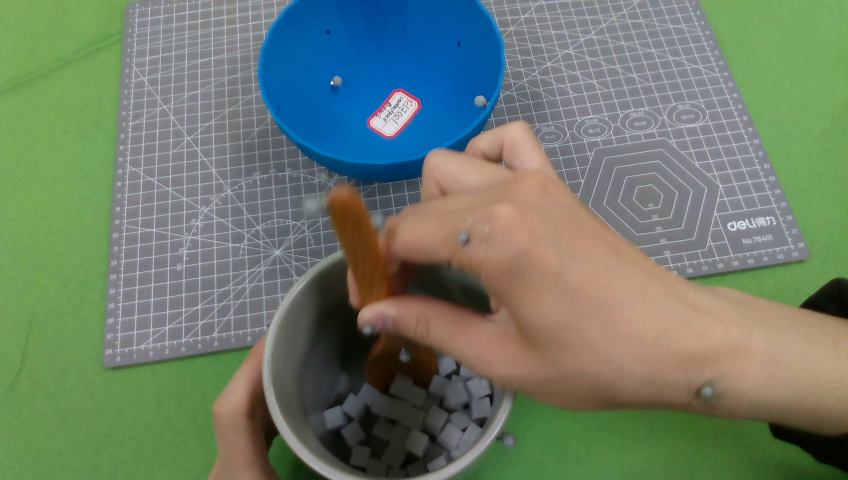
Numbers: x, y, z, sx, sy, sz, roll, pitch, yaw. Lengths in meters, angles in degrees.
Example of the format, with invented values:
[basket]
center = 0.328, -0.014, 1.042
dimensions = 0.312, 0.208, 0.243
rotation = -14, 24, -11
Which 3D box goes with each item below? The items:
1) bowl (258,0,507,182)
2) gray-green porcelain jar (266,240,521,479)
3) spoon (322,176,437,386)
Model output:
[bowl]
center = -0.024, -0.093, 0.399
dimensions = 0.151, 0.077, 0.150
rotation = -1, 66, 2
[gray-green porcelain jar]
center = -0.010, 0.072, 0.303
dimensions = 0.106, 0.127, 0.105
rotation = -1, 66, 2
[spoon]
center = -0.017, 0.031, 0.268
dimensions = 0.041, 0.195, 0.021
rotation = -12, 63, -3
